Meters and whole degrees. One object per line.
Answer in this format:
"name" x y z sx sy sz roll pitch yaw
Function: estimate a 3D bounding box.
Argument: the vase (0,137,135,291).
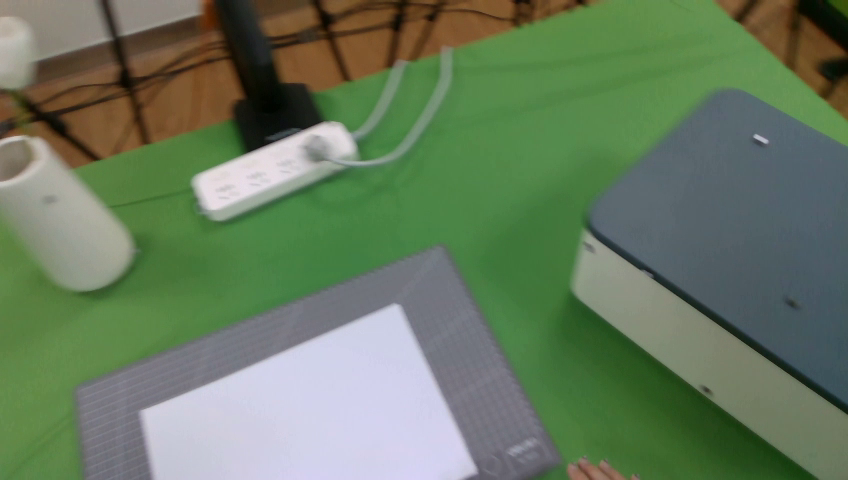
"vase" -0.413 -0.023 0.683 0.098 0.202 0.097 -2 57 3

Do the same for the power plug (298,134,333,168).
"power plug" -0.143 -0.108 0.801 0.035 0.053 0.072 -17 64 -9

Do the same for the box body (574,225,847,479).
"box body" 0.369 0.044 0.629 0.361 0.162 0.254 39 66 24

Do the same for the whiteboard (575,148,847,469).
"whiteboard" 0.362 0.042 0.646 0.303 0.145 0.217 37 62 23

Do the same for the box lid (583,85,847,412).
"box lid" 0.364 0.001 0.568 0.368 0.015 0.263 39 67 24

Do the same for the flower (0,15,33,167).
"flower" -0.394 -0.069 0.615 0.038 0.363 0.044 26 51 -2

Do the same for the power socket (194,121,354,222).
"power socket" -0.201 -0.095 0.821 0.227 0.033 0.071 -26 60 -15
